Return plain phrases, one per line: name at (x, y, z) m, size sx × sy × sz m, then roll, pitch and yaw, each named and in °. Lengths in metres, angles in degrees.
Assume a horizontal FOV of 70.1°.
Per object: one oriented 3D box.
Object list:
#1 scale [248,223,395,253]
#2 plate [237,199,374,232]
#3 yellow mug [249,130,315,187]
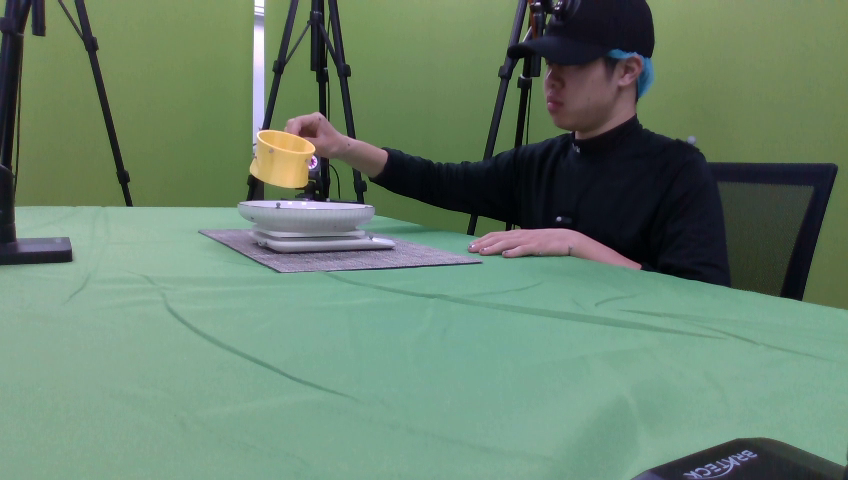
scale at (-0.161, -0.006, 0.954) m, size 0.202 × 0.031 × 0.148 m, roll -2°, pitch 9°, yaw -32°
plate at (-0.183, -0.039, 0.941) m, size 0.209 × 0.038 × 0.209 m, roll 3°, pitch 7°, yaw 0°
yellow mug at (-0.242, -0.147, 1.057) m, size 0.100 × 0.064 × 0.131 m, roll 20°, pitch 23°, yaw -1°
